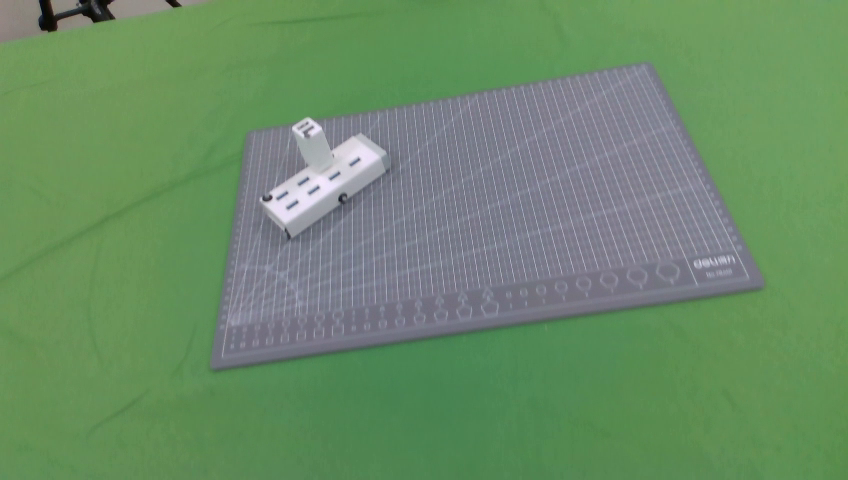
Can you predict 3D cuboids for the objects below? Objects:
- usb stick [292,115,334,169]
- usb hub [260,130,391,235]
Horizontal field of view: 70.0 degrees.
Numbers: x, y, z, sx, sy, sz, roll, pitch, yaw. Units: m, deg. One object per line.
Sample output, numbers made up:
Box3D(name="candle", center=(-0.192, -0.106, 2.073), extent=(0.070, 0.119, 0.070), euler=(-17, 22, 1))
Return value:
Box3D(name="usb stick", center=(-0.104, -0.089, 0.585), extent=(0.021, 0.060, 0.027), euler=(-40, 54, -19))
Box3D(name="usb hub", center=(-0.096, -0.059, 0.598), extent=(0.125, 0.025, 0.049), euler=(-38, 55, -18))
